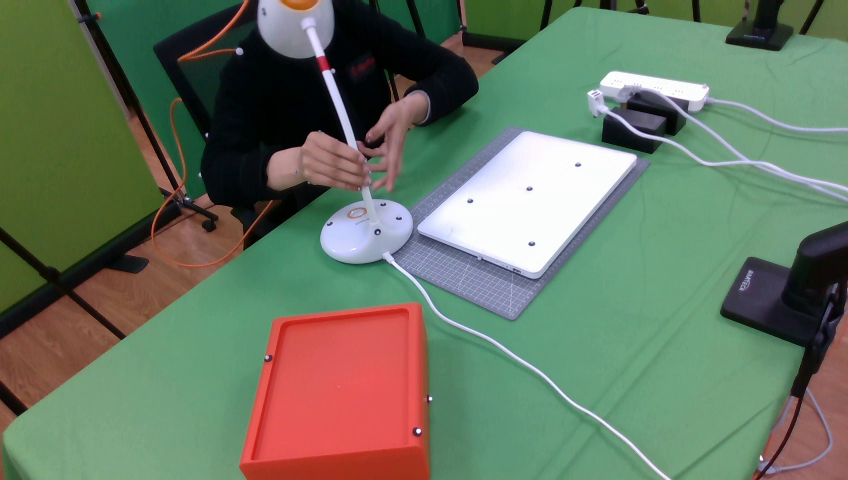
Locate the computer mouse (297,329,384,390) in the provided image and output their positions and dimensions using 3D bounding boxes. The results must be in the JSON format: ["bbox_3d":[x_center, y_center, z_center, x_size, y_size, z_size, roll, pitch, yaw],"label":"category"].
[{"bbox_3d":[-0.111,0.156,0.798,0.117,0.041,0.062,-15,40,1],"label":"computer mouse"}]

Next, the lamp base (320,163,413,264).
[{"bbox_3d":[-0.102,-0.069,0.964,0.161,0.181,0.177,-29,45,-19],"label":"lamp base"}]

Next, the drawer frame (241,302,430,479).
[{"bbox_3d":[-0.095,0.184,0.740,0.202,0.083,0.212,-7,40,3],"label":"drawer frame"}]

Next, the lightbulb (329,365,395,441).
[{"bbox_3d":[-0.080,0.195,0.738,0.060,0.060,0.107,-32,61,-25],"label":"lightbulb"}]

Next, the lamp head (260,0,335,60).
[{"bbox_3d":[-0.177,-0.327,0.862,0.113,0.112,0.122,-22,4,-14],"label":"lamp head"}]

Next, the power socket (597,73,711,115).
[{"bbox_3d":[0.469,-0.304,1.249,0.225,0.033,0.072,20,49,30],"label":"power socket"}]

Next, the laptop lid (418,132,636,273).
[{"bbox_3d":[0.181,-0.084,1.036,0.239,0.013,0.358,22,49,35],"label":"laptop lid"}]

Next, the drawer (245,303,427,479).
[{"bbox_3d":[-0.097,0.183,0.743,0.194,0.073,0.210,-6,41,3],"label":"drawer"}]

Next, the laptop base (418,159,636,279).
[{"bbox_3d":[0.185,-0.074,1.042,0.233,0.023,0.355,20,48,35],"label":"laptop base"}]

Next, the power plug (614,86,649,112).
[{"bbox_3d":[0.406,-0.275,1.192,0.035,0.053,0.072,-15,24,-16],"label":"power plug"}]

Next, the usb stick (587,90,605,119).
[{"bbox_3d":[0.334,-0.258,1.170,0.021,0.059,0.027,-28,44,-5],"label":"usb stick"}]
